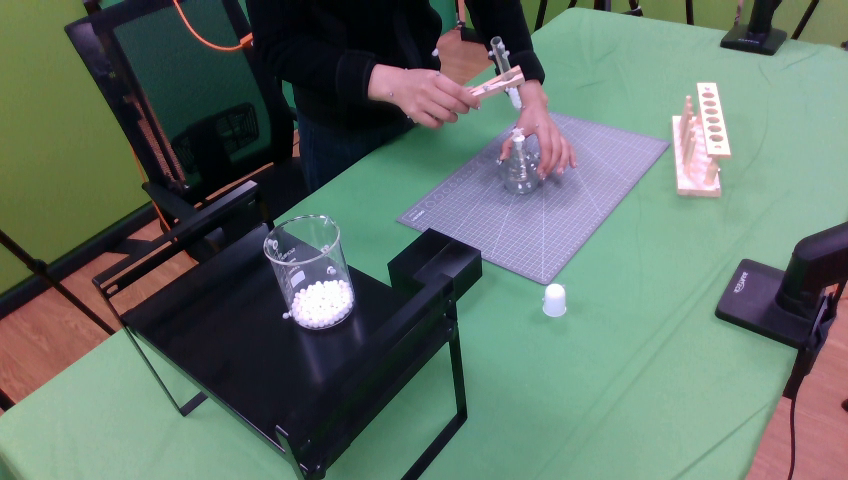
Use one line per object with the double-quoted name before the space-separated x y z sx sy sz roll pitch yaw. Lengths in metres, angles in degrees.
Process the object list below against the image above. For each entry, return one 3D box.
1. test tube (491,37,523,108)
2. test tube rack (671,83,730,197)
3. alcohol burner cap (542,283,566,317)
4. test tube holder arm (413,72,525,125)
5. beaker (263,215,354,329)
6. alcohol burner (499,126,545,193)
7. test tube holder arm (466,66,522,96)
"test tube" 0.124 -0.241 0.886 0.017 0.151 0.017 -9 63 18
"test tube rack" 0.482 -0.184 1.067 0.066 0.085 0.242 5 42 15
"alcohol burner cap" 0.182 0.081 0.839 0.034 0.048 0.033 -3 40 3
"test tube holder arm" 0.065 -0.211 0.908 0.178 0.015 0.013 -20 53 15
"beaker" -0.112 0.034 0.616 0.073 0.101 0.084 13 44 23
"alcohol burner" 0.166 -0.141 1.034 0.078 0.120 0.077 -7 42 7
"test tube holder arm" 0.105 -0.232 0.900 0.087 0.015 0.010 -25 52 11
